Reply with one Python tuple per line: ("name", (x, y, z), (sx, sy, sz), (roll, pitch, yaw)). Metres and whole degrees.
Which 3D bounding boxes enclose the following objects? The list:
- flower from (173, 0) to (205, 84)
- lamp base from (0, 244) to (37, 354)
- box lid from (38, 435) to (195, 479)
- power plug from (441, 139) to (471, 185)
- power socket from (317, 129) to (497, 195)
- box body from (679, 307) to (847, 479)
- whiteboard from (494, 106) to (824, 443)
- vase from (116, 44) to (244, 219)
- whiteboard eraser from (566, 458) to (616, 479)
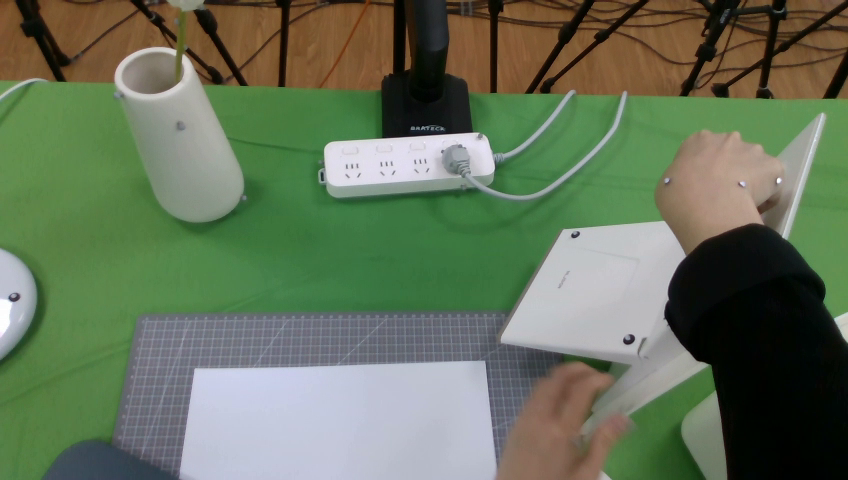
("flower", (-0.231, -0.142, 0.570), (0.038, 0.362, 0.044), (47, 56, 2))
("lamp base", (-0.489, 0.023, 0.555), (0.178, 0.181, 0.160), (28, 61, 15))
("box lid", (-0.213, 0.344, 0.490), (0.370, 0.015, 0.262), (23, 61, 8))
("power plug", (0.037, -0.088, 0.729), (0.035, 0.053, 0.072), (5, 65, -2))
("power socket", (-0.019, -0.098, 0.756), (0.227, 0.033, 0.071), (-4, 61, -8))
("box body", (0.433, 0.246, 0.519), (0.254, 0.161, 0.360), (-19, 63, -16))
("whiteboard", (0.179, 0.019, 0.548), (0.143, 0.307, 0.216), (31, 62, 12))
("vase", (-0.256, -0.108, 0.643), (0.098, 0.201, 0.097), (2, 59, -2))
("whiteboard eraser", (0.136, 0.258, 0.552), (0.055, 0.042, 0.112), (40, 64, 18))
